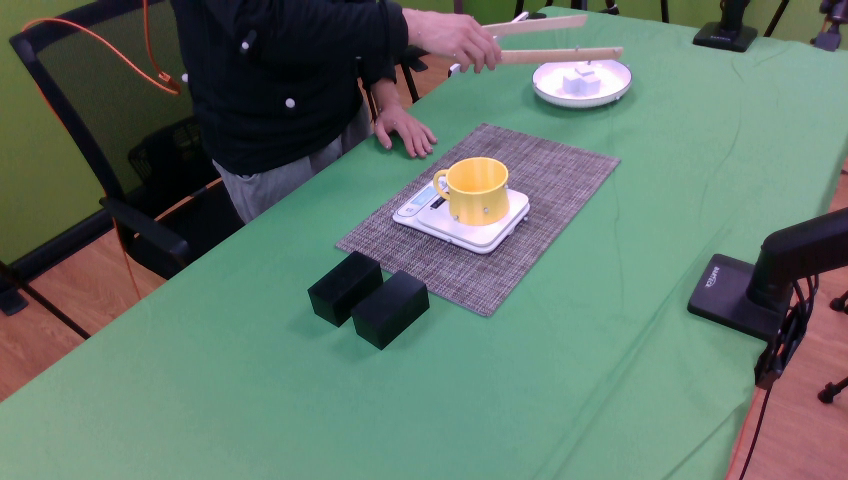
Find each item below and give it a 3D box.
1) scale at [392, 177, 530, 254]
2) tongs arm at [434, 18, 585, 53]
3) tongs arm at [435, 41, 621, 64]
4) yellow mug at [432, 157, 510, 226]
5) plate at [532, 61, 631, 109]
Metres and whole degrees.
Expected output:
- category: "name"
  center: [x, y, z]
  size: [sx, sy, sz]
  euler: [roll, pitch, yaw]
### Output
- category: "scale"
  center: [0.060, -0.050, 1.006]
  size: [0.199, 0.032, 0.149]
  euler: [22, 48, 30]
- category: "tongs arm"
  center: [0.170, -0.387, 1.128]
  size: [0.390, 0.028, 0.028]
  euler: [-19, 61, -32]
- category: "tongs arm"
  center: [0.200, -0.341, 1.094]
  size: [0.387, 0.026, 0.050]
  euler: [-11, 54, -27]
- category: "yellow mug"
  center: [0.072, -0.082, 0.968]
  size: [0.130, 0.064, 0.100]
  euler: [13, 45, 24]
- category: "plate"
  center: [0.336, -0.335, 1.301]
  size: [0.207, 0.039, 0.206]
  euler: [-4, 41, 4]
